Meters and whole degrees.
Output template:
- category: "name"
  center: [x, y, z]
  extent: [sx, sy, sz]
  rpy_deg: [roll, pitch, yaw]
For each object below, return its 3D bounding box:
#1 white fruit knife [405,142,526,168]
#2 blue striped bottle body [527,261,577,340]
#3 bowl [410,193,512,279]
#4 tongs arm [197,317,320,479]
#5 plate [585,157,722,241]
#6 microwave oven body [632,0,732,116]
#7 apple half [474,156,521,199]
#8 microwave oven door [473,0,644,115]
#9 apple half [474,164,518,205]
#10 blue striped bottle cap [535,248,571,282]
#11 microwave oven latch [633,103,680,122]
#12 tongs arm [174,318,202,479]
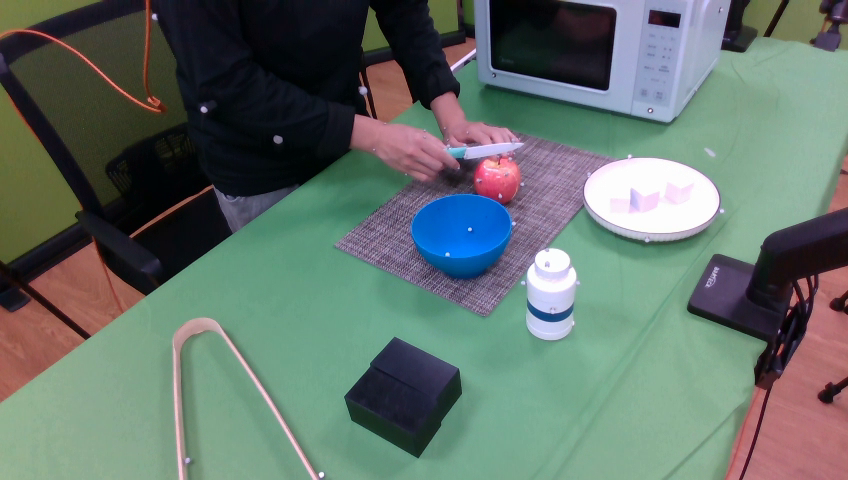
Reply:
- category: "white fruit knife"
  center: [0.064, -0.142, 0.984]
  extent: [0.206, 0.027, 0.016]
  rpy_deg: [-6, 45, 18]
- category: "blue striped bottle body"
  center: [0.165, 0.070, 0.786]
  extent: [0.063, 0.121, 0.063]
  rpy_deg: [-5, 41, 4]
- category: "bowl"
  center: [0.058, 0.005, 0.905]
  extent: [0.151, 0.077, 0.150]
  rpy_deg: [-4, 40, 4]
- category: "tongs arm"
  center: [-0.199, 0.206, 0.750]
  extent: [0.028, 0.028, 0.384]
  rpy_deg: [-31, 45, -22]
- category: "plate"
  center: [0.367, -0.063, 0.979]
  extent: [0.207, 0.039, 0.206]
  rpy_deg: [-4, 40, 4]
- category: "microwave oven body"
  center: [0.377, -0.463, 1.267]
  extent: [0.438, 0.261, 0.327]
  rpy_deg: [21, 49, 30]
- category: "apple half"
  center: [0.131, -0.109, 1.033]
  extent: [0.080, 0.075, 0.053]
  rpy_deg: [9, 39, 24]
- category: "microwave oven door"
  center: [0.257, -0.396, 1.199]
  extent: [0.353, 0.245, 0.039]
  rpy_deg: [21, 48, 29]
- category: "apple half"
  center: [0.115, -0.085, 1.005]
  extent: [0.081, 0.081, 0.033]
  rpy_deg: [11, 40, 20]
- category: "blue striped bottle cap"
  center: [0.161, 0.031, 0.753]
  extent: [0.044, 0.021, 0.044]
  rpy_deg: [-4, 42, 4]
- category: "microwave oven latch"
  center: [0.444, -0.249, 1.158]
  extent: [0.078, 0.029, 0.030]
  rpy_deg: [21, 49, 30]
- category: "tongs arm"
  center: [-0.272, 0.234, 0.723]
  extent: [0.051, 0.026, 0.381]
  rpy_deg: [-19, 40, -14]
